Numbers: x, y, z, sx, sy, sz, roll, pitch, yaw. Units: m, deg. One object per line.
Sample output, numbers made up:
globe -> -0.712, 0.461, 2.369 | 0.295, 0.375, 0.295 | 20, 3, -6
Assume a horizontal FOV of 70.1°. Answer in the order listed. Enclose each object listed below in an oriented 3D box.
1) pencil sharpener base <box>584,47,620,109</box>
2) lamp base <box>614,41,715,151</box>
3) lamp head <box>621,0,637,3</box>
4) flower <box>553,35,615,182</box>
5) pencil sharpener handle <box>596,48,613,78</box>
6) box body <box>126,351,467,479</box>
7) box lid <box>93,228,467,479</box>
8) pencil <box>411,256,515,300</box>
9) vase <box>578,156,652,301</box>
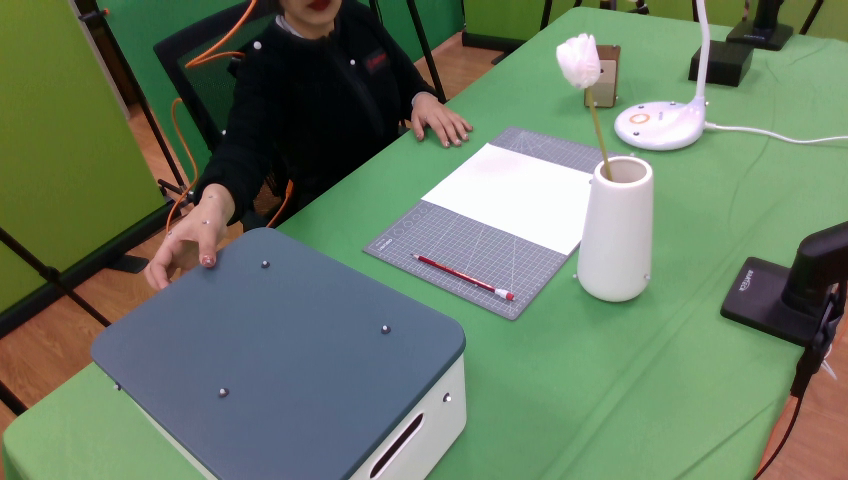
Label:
pencil sharpener base -> 0.367, -0.336, 1.248 | 0.061, 0.107, 0.076 | 6, 42, 19
lamp base -> 0.449, -0.277, 1.106 | 0.179, 0.181, 0.160 | 1, 41, 9
lamp head -> 0.319, -0.453, 0.962 | 0.113, 0.123, 0.112 | 20, 33, -13
flower -> 0.237, -0.083, 0.774 | 0.044, 0.363, 0.038 | -23, 26, 6
pencil sharpener handle -> 0.383, -0.378, 1.276 | 0.036, 0.068, 0.030 | 2, 41, 22
box body -> -0.155, 0.169, 0.707 | 0.361, 0.161, 0.255 | 23, 49, 33
box lid -> -0.167, 0.110, 0.661 | 0.368, 0.015, 0.264 | 23, 49, 34
pencil -> 0.054, 0.054, 0.918 | 0.192, 0.012, 0.012 | 21, 48, 33
vase -> 0.261, -0.011, 0.812 | 0.098, 0.201, 0.097 | -4, 40, 4
